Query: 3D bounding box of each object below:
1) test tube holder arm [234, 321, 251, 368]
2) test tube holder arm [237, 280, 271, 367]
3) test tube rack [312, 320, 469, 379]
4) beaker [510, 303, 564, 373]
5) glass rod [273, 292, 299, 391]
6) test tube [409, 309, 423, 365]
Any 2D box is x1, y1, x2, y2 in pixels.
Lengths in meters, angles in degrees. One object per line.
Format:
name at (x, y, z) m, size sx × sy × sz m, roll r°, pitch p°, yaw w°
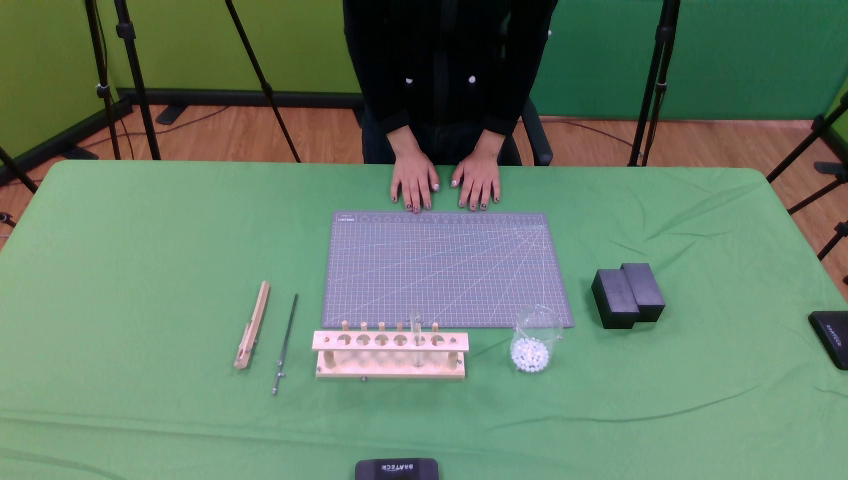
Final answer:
test tube holder arm at (-0.299, 0.173, 1.013) m, size 0.010 × 0.015 × 0.087 m, roll -16°, pitch 42°, yaw 22°
test tube holder arm at (-0.290, 0.139, 1.042) m, size 0.013 × 0.015 × 0.177 m, roll -16°, pitch 42°, yaw 22°
test tube rack at (-0.054, 0.173, 0.984) m, size 0.242 × 0.085 × 0.066 m, roll 1°, pitch 46°, yaw -3°
beaker at (0.182, 0.164, 1.000) m, size 0.074 × 0.101 × 0.083 m, roll 2°, pitch 45°, yaw -1°
glass rod at (-0.233, 0.167, 1.030) m, size 0.008 × 0.008 × 0.198 m, roll 3°, pitch 46°, yaw 0°
test tube at (-0.012, 0.153, 0.937) m, size 0.017 × 0.151 × 0.017 m, roll -1°, pitch 50°, yaw 2°
